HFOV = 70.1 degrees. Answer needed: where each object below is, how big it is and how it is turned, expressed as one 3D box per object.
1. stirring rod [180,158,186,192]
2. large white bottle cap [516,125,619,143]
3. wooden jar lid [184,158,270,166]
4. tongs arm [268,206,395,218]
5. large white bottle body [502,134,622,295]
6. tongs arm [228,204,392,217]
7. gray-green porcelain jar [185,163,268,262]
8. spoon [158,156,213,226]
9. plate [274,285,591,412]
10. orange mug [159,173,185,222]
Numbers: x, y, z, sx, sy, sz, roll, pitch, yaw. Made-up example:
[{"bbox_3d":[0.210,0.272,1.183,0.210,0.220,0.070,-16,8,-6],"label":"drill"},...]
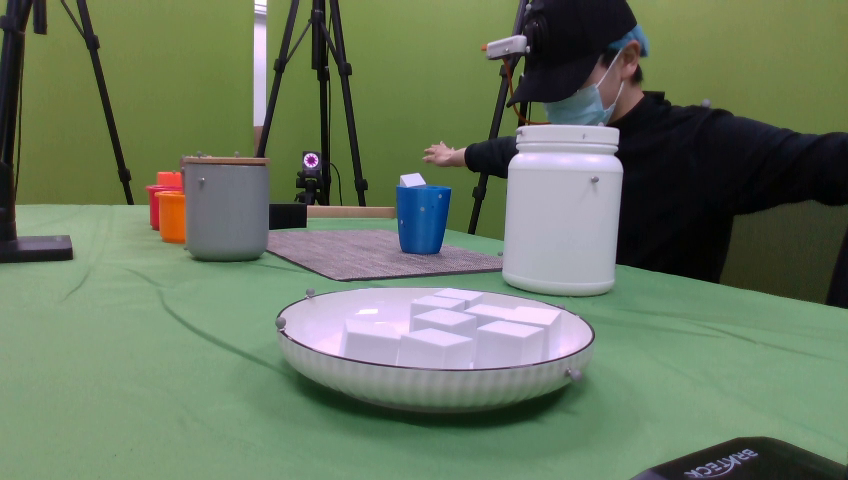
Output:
[{"bbox_3d":[-0.380,-0.071,0.980,0.014,0.006,0.175,-5,52,-25],"label":"stirring rod"},{"bbox_3d":[0.164,-0.120,0.695,0.115,0.018,0.115,2,7,0],"label":"large white bottle cap"},{"bbox_3d":[-0.260,-0.099,0.801,0.108,0.020,0.108,0,9,0],"label":"wooden jar lid"},{"bbox_3d":[-0.230,-0.064,1.380,0.387,0.026,0.050,-1,3,-32],"label":"tongs arm"},{"bbox_3d":[0.161,-0.037,0.706,0.131,0.184,0.130,2,7,0],"label":"large white bottle body"},{"bbox_3d":[-0.267,-0.070,1.454,0.389,0.027,0.028,0,-1,-18],"label":"tongs arm"},{"bbox_3d":[-0.263,-0.038,0.809,0.106,0.126,0.106,3,8,0],"label":"gray-green porcelain jar"},{"bbox_3d":[-0.434,-0.094,1.121,0.041,0.022,0.193,5,51,13],"label":"spoon"},{"bbox_3d":[0.005,0.069,0.408,0.208,0.039,0.207,2,7,0],"label":"plate"},{"bbox_3d":[-0.477,-0.089,1.241,0.127,0.101,0.083,-7,12,-33],"label":"orange mug"}]
